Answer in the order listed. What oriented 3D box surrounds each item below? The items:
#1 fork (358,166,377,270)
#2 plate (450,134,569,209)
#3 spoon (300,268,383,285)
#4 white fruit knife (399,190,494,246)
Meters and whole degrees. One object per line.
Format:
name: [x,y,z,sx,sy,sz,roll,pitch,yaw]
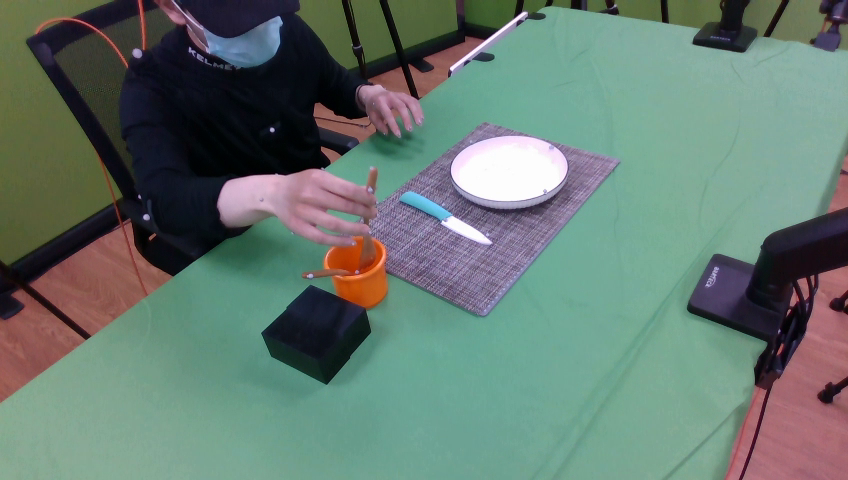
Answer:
fork: [-0.073,-0.023,0.797,0.028,0.208,0.018,-20,54,-23]
plate: [0.149,-0.117,1.066,0.209,0.038,0.208,-4,41,4]
spoon: [-0.112,0.048,0.831,0.041,0.195,0.021,16,90,24]
white fruit knife: [0.036,-0.038,1.009,0.205,0.016,0.027,32,84,34]
